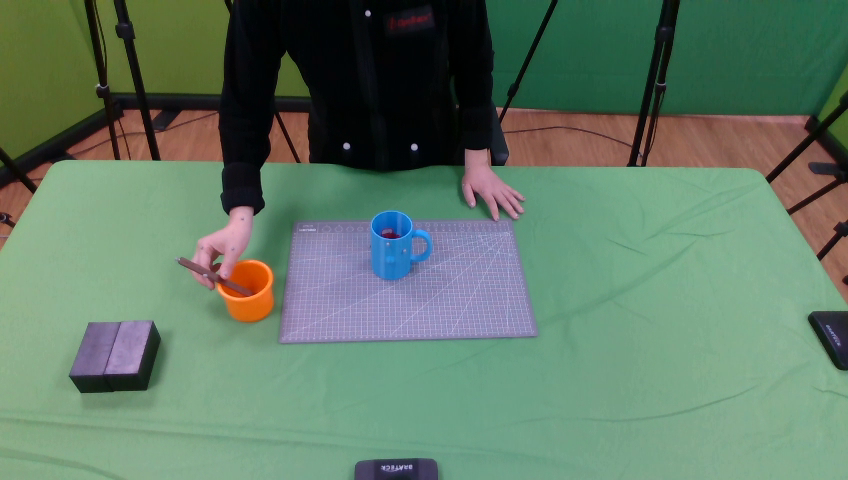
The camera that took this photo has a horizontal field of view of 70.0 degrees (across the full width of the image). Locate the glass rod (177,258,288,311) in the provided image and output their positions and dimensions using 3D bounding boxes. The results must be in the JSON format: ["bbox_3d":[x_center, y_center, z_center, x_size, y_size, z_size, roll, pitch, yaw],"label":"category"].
[{"bbox_3d":[-0.318,0.077,1.018,0.200,0.008,0.008,30,41,-24],"label":"glass rod"}]

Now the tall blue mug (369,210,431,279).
[{"bbox_3d":[-0.049,0.005,1.125,0.107,0.108,0.077,-19,50,-21],"label":"tall blue mug"}]
